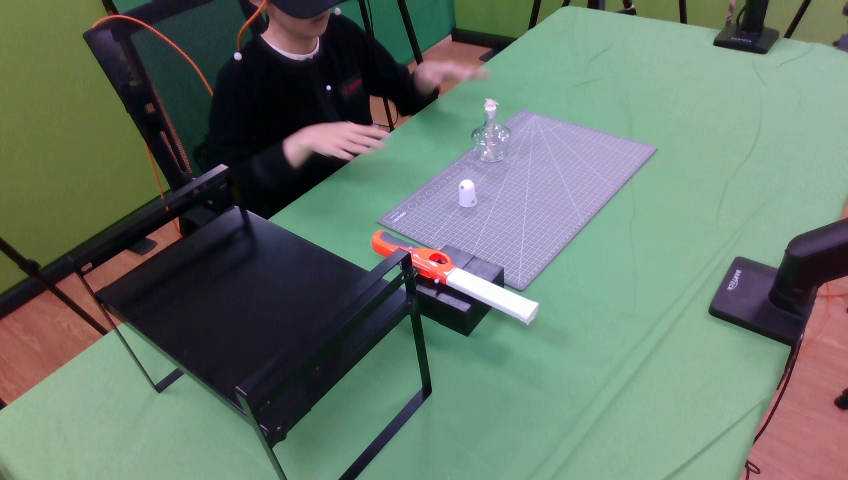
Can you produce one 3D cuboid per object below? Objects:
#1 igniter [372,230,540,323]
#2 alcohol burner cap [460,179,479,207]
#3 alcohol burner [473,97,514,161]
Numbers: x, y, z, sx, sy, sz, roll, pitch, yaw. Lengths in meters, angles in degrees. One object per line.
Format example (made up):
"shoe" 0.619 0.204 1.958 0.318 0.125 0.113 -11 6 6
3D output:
"igniter" 0.032 0.045 0.842 0.274 0.025 0.057 24 47 28
"alcohol burner cap" 0.078 -0.083 1.041 0.034 0.048 0.033 -5 42 5
"alcohol burner" 0.127 -0.208 1.123 0.078 0.119 0.077 -5 39 5
